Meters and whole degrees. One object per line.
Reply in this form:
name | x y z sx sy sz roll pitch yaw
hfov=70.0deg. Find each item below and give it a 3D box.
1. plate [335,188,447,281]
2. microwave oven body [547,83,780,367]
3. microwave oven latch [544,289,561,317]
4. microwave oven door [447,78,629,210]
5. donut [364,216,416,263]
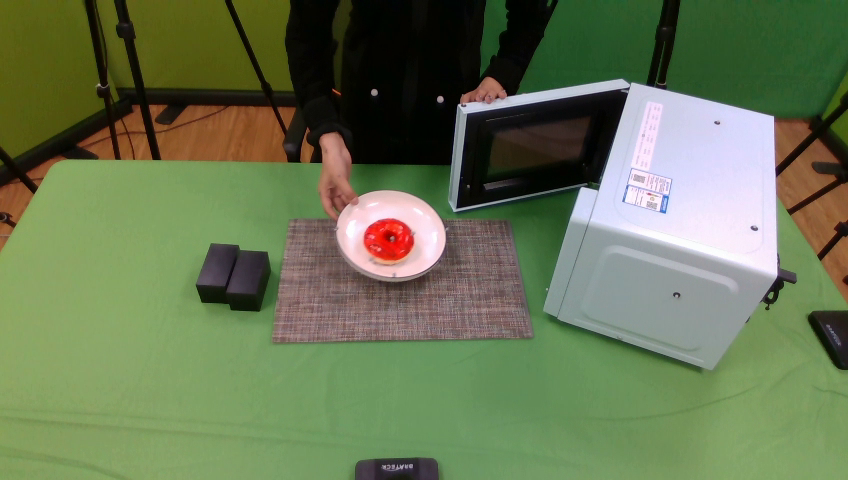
plate | -0.063 -0.008 1.137 0.209 0.038 0.208 6 54 -7
microwave oven body | 0.445 -0.041 1.101 0.325 0.261 0.440 17 47 13
microwave oven latch | 0.237 0.098 1.087 0.030 0.029 0.079 17 47 13
microwave oven door | 0.227 -0.193 1.223 0.356 0.245 0.039 -12 49 -15
donut | -0.063 -0.001 1.118 0.099 0.048 0.098 4 53 -6
